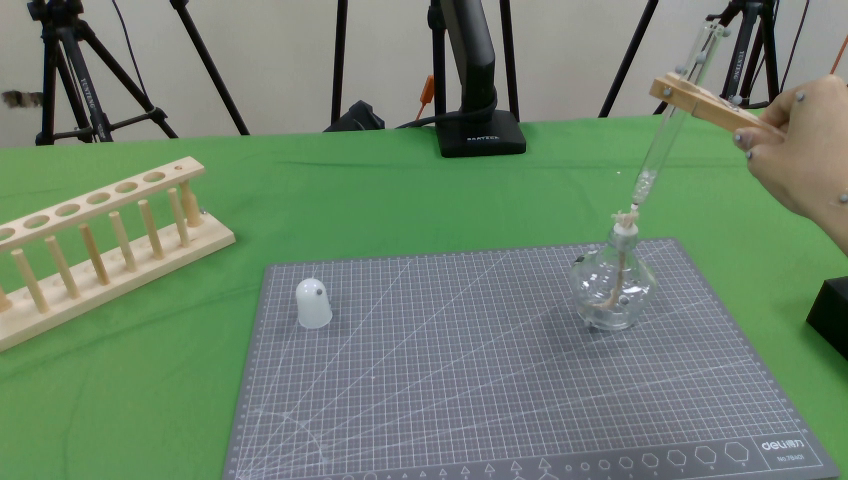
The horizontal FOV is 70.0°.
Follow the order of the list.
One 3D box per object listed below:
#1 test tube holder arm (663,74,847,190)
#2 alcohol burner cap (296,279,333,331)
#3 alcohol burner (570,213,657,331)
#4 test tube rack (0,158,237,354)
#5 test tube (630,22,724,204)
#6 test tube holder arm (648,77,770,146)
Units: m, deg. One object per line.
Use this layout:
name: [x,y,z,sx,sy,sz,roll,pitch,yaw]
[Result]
test tube holder arm: [0.233,-0.069,0.407,0.013,0.015,0.176,-23,50,-31]
alcohol burner cap: [-0.104,0.058,0.567,0.034,0.048,0.033,-1,37,1]
alcohol burner: [0.173,0.024,0.546,0.078,0.120,0.077,0,39,0]
test tube rack: [-0.321,0.007,0.610,0.242,0.086,0.066,-30,45,-33]
test tube: [0.186,-0.089,0.456,0.017,0.151,0.017,6,41,-4]
test tube holder arm: [0.200,-0.092,0.428,0.087,0.015,0.010,36,48,28]
